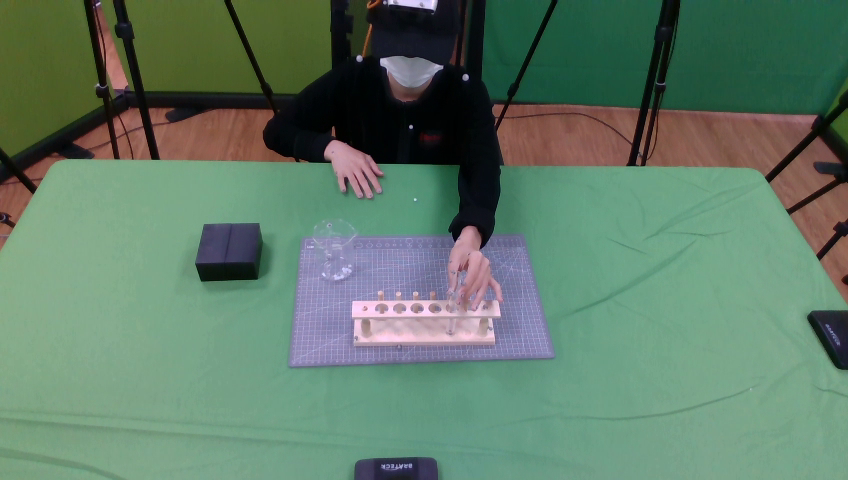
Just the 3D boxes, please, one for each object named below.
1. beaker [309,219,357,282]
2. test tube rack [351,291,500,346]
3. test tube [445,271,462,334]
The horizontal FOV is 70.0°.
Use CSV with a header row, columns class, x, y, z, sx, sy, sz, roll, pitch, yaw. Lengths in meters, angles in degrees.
class,x,y,z,sx,sy,sz,roll,pitch,yaw
beaker,-0.164,0.021,1.107,0.084,0.101,0.073,-5,47,-11
test tube rack,0.001,0.129,1.026,0.242,0.085,0.066,0,46,-4
test tube,0.047,0.105,0.983,0.017,0.151,0.017,2,45,-2
